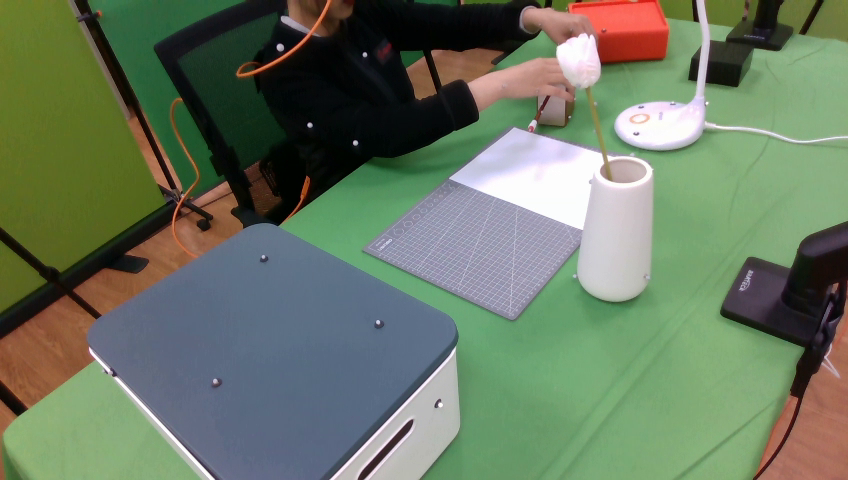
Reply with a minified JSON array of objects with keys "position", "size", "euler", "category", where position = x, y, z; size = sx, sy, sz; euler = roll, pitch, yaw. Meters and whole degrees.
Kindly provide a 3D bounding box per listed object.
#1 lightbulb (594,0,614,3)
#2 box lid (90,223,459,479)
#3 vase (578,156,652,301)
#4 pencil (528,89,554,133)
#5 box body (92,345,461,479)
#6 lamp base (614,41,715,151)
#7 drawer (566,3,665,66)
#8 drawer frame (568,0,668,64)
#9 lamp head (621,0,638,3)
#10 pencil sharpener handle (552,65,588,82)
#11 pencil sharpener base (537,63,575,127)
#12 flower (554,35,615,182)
[{"position":[0.305,-0.437,0.977],"size":[0.060,0.107,0.059],"euler":[12,44,-11],"category":"lightbulb"},{"position":[-0.174,0.102,0.666],"size":[0.368,0.015,0.264],"euler":[24,48,35],"category":"box lid"},{"position":[0.261,-0.011,0.812],"size":[0.098,0.201,0.097],"euler":[-4,40,4],"category":"vase"},{"position":[0.228,-0.257,1.143],"size":[0.012,0.012,0.194],"euler":[11,46,23],"category":"pencil"},{"position":[-0.162,0.170,0.708],"size":[0.361,0.161,0.255],"euler":[25,50,34],"category":"box body"},{"position":[0.449,-0.277,1.106],"size":[0.179,0.181,0.160],"euler":[1,41,9],"category":"lamp base"},{"position":[0.447,-0.493,1.440],"size":[0.211,0.073,0.194],"euler":[0,40,10],"category":"drawer"},{"position":[0.450,-0.496,1.441],"size":[0.213,0.083,0.201],"euler":[-1,40,9],"category":"drawer frame"},{"position":[0.319,-0.453,0.962],"size":[0.113,0.123,0.112],"euler":[20,33,-13],"category":"lamp head"},{"position":[0.298,-0.342,1.227],"size":[0.067,0.036,0.030],"euler":[12,44,20],"category":"pencil sharpener handle"},{"position":[0.267,-0.292,1.216],"size":[0.061,0.107,0.077],"euler":[10,44,23],"category":"pencil sharpener base"},{"position":[0.237,-0.083,0.774],"size":[0.044,0.363,0.038],"euler":[-23,26,6],"category":"flower"}]
